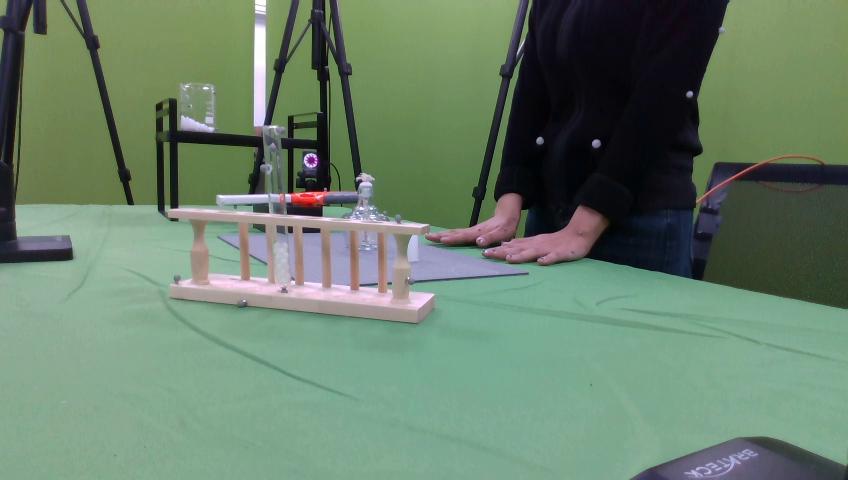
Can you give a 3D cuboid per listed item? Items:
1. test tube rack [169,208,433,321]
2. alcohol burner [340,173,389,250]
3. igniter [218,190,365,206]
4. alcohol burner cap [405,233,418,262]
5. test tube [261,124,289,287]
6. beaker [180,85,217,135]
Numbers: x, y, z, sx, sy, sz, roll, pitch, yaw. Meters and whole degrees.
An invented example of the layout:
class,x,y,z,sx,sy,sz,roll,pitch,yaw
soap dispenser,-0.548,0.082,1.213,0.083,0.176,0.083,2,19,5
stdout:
class,x,y,z,sx,sy,sz,roll,pitch,yaw
test tube rack,-0.115,0.017,0.574,0.242,0.085,0.067,4,8,13
alcohol burner,-0.093,-0.045,0.939,0.078,0.119,0.078,0,7,0
igniter,-0.247,-0.080,1.156,0.278,0.025,0.057,-4,12,-26
alcohol burner cap,-0.024,0.005,0.847,0.034,0.048,0.034,2,10,0
test tube,-0.136,-0.030,0.554,0.017,0.150,0.017,-2,10,1
beaker,-0.478,-0.275,1.279,0.074,0.100,0.084,4,8,15
